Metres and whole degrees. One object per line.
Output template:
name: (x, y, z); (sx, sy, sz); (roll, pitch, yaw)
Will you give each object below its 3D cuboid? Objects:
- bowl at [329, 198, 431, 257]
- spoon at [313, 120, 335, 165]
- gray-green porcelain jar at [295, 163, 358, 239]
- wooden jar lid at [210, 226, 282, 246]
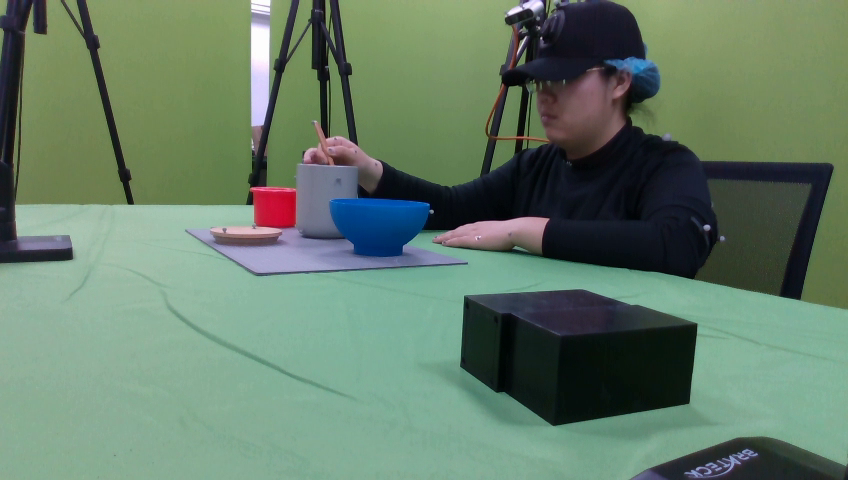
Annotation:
bowl: (-0.067, -0.019, 0.895); (0.151, 0.077, 0.151); (3, 7, 0)
spoon: (-0.162, -0.119, 1.065); (0.021, 0.193, 0.042); (-13, 0, 37)
gray-green porcelain jar: (-0.170, -0.068, 1.054); (0.106, 0.126, 0.106); (3, 7, 0)
wooden jar lid: (-0.279, -0.006, 0.951); (0.108, 0.020, 0.108); (2, 8, 0)
